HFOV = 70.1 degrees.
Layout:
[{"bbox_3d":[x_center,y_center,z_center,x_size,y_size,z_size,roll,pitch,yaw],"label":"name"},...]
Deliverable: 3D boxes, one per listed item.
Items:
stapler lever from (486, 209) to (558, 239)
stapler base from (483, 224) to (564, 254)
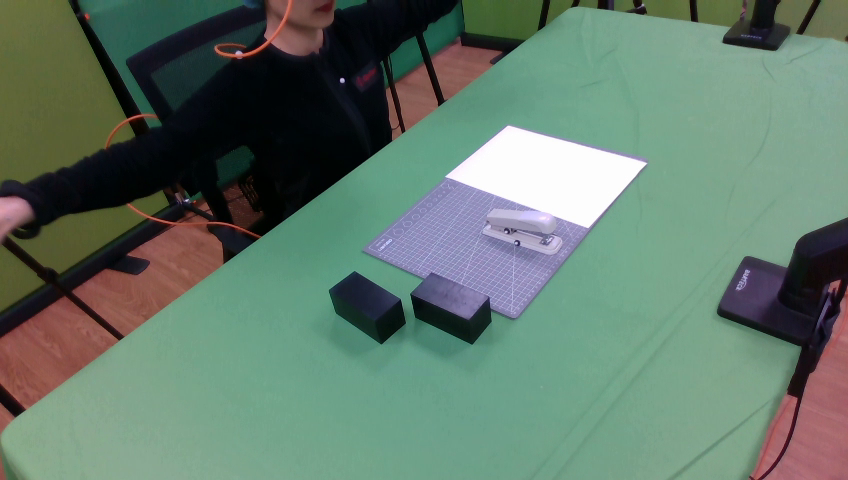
[{"bbox_3d":[0.153,-0.032,0.947,0.117,0.040,0.027,17,45,31],"label":"stapler lever"},{"bbox_3d":[0.158,-0.012,0.962,0.129,0.024,0.041,17,45,31],"label":"stapler base"}]
